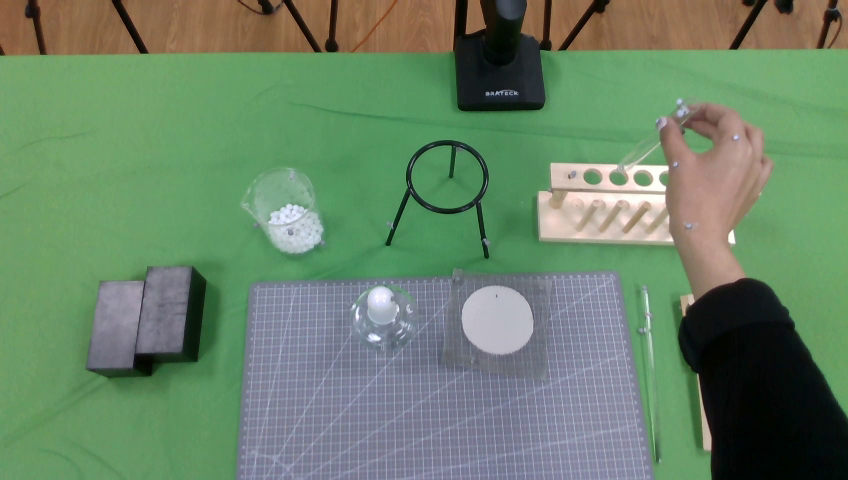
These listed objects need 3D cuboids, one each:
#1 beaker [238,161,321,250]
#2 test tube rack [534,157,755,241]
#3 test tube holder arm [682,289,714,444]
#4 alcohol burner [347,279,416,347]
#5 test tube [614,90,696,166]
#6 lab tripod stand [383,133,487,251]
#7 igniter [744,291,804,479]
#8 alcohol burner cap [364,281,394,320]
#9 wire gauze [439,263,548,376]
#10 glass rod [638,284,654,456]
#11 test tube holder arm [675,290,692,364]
[{"bbox_3d":[-0.165,-0.035,0.714,0.084,0.101,0.073,-9,68,-4],"label":"beaker"},{"bbox_3d":[0.264,-0.048,0.741,0.242,0.086,0.066,2,68,-1],"label":"test tube rack"},{"bbox_3d":[0.316,0.143,0.701,0.013,0.015,0.177,-15,64,32],"label":"test tube holder arm"},{"bbox_3d":[-0.048,0.075,0.664,0.078,0.120,0.077,0,68,1],"label":"alcohol burner"},{"bbox_3d":[0.222,-0.105,0.597,0.017,0.150,0.017,1,75,-6],"label":"test tube"},{"bbox_3d":[0.018,-0.050,0.708,0.148,0.132,0.147,1,70,-1],"label":"lab tripod stand"},{"bbox_3d":[0.392,0.191,0.681,0.057,0.025,0.274,9,68,-10],"label":"igniter"},{"bbox_3d":[-0.048,0.060,0.631,0.034,0.048,0.033,1,61,-2],"label":"alcohol burner cap"},{"bbox_3d":[0.084,0.091,0.719,0.125,0.011,0.120,9,69,1],"label":"wire gauze"},{"bbox_3d":[0.258,0.146,0.704,0.008,0.008,0.198,4,71,-1],"label":"glass rod"},{"bbox_3d":[0.311,0.103,0.720,0.010,0.015,0.087,-14,65,32],"label":"test tube holder arm"}]
